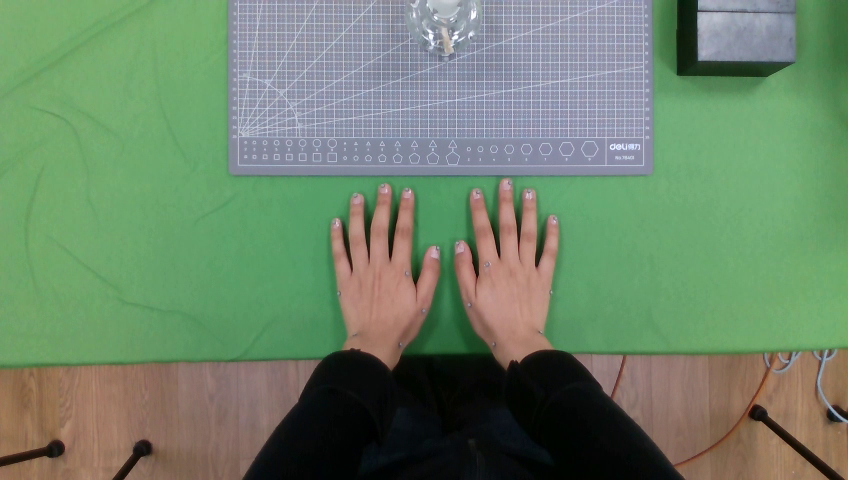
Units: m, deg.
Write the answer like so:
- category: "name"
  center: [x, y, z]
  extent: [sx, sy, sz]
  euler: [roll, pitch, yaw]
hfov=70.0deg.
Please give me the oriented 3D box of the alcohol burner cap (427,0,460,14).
- category: "alcohol burner cap"
  center: [0.019, -0.230, 0.553]
  extent: [0.034, 0.048, 0.034]
  euler: [0, 93, -4]

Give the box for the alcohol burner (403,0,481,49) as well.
- category: "alcohol burner"
  center: [0.019, -0.231, 0.588]
  extent: [0.078, 0.119, 0.078]
  euler: [0, 90, -3]
